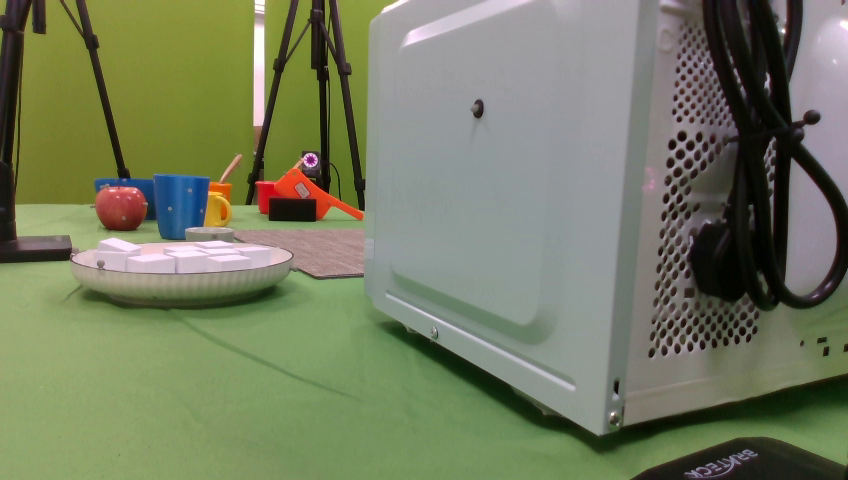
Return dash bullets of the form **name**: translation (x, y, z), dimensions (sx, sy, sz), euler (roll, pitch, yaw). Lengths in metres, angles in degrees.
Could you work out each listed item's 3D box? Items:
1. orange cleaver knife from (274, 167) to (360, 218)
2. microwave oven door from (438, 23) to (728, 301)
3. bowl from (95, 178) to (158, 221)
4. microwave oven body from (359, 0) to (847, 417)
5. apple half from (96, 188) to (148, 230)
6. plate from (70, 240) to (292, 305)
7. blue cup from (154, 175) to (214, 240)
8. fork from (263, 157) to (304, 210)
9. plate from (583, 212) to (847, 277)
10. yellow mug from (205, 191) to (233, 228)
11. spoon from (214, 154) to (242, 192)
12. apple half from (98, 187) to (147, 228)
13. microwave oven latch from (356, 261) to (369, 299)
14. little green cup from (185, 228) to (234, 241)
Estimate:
- **orange cleaver knife**: translation (-0.238, -0.090, 1.381), dimensions (0.212, 0.077, 0.012), euler (31, 0, -19)
- **microwave oven door**: translation (0.181, -0.072, 0.620), dimensions (0.358, 0.243, 0.039), euler (-2, 8, -29)
- **bowl**: translation (-0.576, -0.081, 1.216), dimensions (0.151, 0.077, 0.151), euler (3, 7, 0)
- **microwave oven body**: translation (0.211, -0.047, 0.474), dimensions (0.444, 0.260, 0.324), euler (-1, 7, -28)
- **apple half**: translation (-0.517, -0.052, 1.036), dimensions (0.081, 0.074, 0.053), euler (2, 10, -26)
- **plate**: translation (-0.241, 0.032, 0.617), dimensions (0.208, 0.039, 0.207), euler (2, 8, 0)
- **blue cup**: translation (-0.390, -0.053, 0.977), dimensions (0.093, 0.100, 0.092), euler (3, 6, 0)
- **fork**: translation (-0.345, -0.143, 1.505), dimensions (0.028, 0.019, 0.207), euler (-3, 46, 28)
- **plate**: translation (0.239, 0.001, 0.510), dimensions (0.209, 0.038, 0.209), euler (2, 6, 0)
- **yellow mug**: translation (-0.414, -0.057, 1.131), dimensions (0.130, 0.064, 0.100), euler (5, 8, 16)
- **spoon**: translation (-0.439, -0.124, 1.317), dimensions (0.041, 0.193, 0.022), euler (6, -36, 15)
- **apple half**: translation (-0.533, -0.059, 1.070), dimensions (0.082, 0.081, 0.032), euler (-1, 11, -25)
- **microwave oven latch**: translation (-0.019, 0.034, 0.526), dimensions (0.079, 0.029, 0.030), euler (0, 7, -20)
- **little green cup**: translation (-0.284, 0.005, 0.804), dimensions (0.061, 0.038, 0.061), euler (2, 8, 0)
